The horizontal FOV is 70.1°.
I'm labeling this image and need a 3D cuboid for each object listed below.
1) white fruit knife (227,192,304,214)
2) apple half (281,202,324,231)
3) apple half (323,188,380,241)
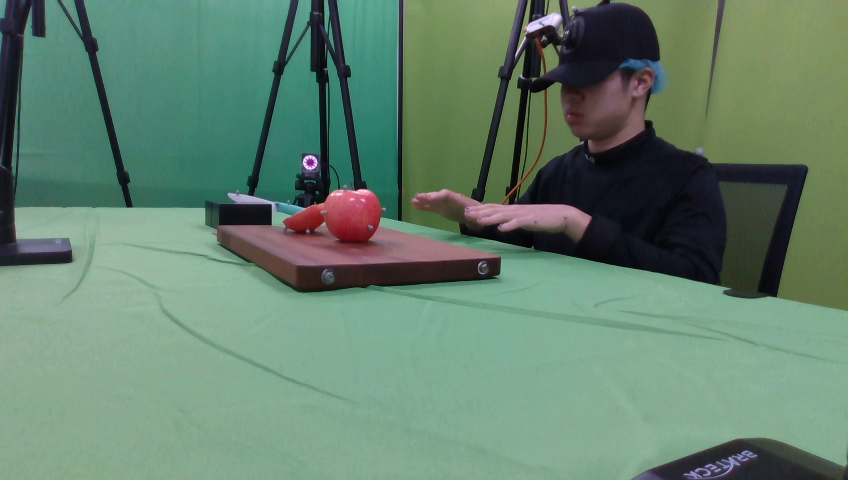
[{"bbox_3d":[-0.302,-0.069,1.242,0.208,0.027,0.016,14,3,-37],"label":"white fruit knife"},{"bbox_3d":[-0.175,-0.033,0.927,0.081,0.033,0.081,-21,0,1],"label":"apple half"},{"bbox_3d":[-0.094,-0.034,0.840,0.081,0.074,0.053,1,10,-38],"label":"apple half"}]
